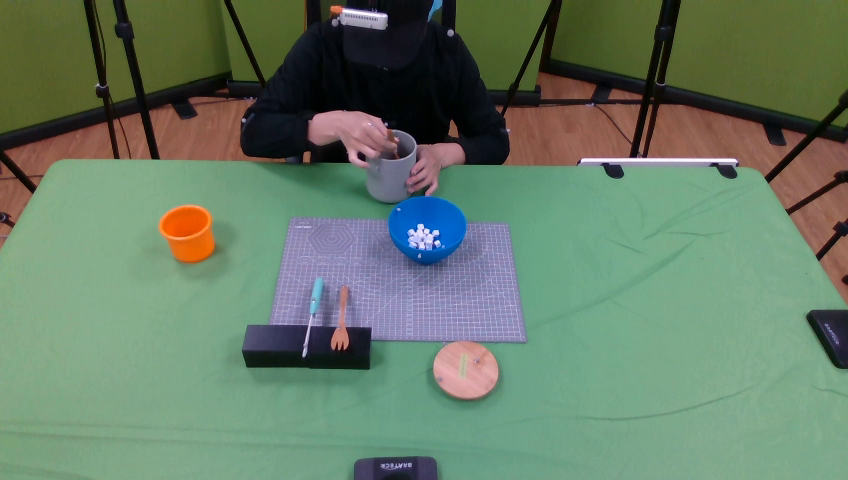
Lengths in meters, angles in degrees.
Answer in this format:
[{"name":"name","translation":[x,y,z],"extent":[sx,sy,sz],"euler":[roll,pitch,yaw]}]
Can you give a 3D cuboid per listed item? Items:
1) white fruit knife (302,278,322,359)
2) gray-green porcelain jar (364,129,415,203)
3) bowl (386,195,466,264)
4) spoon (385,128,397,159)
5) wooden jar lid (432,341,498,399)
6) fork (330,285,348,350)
[{"name":"white fruit knife","translation":[-0.189,0.126,1.020],"extent":[0.016,0.027,0.206],"euler":[0,33,-2]},{"name":"gray-green porcelain jar","translation":[-0.072,-0.149,1.264],"extent":[0.106,0.127,0.105],"euler":[2,46,-2]},{"name":"bowl","translation":[0.002,-0.007,1.162],"extent":[0.151,0.077,0.150],"euler":[2,46,-2]},{"name":"spoon","translation":[-0.065,-0.181,1.217],"extent":[0.041,0.194,0.021],"euler":[21,73,9]},{"name":"wooden jar lid","translation":[0.067,0.216,0.997],"extent":[0.108,0.021,0.107],"euler":[1,46,-1]},{"name":"fork","translation":[-0.140,0.127,1.021],"extent":[0.028,0.019,0.206],"euler":[-5,28,-2]}]
